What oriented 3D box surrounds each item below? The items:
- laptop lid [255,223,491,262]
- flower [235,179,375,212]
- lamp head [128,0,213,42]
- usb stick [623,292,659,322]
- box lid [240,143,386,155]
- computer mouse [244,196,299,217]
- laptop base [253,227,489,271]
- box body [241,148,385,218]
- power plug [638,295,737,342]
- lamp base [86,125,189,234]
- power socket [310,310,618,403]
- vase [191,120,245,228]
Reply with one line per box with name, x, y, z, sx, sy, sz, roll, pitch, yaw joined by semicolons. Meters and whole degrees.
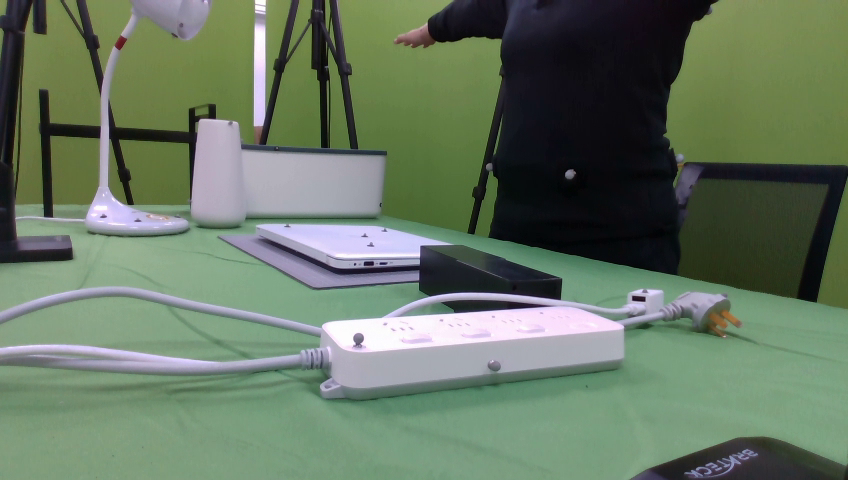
laptop lid;-0.093;0.000;0.911;0.243;0.013;0.355;1;7;-30
flower;-0.265;-0.093;1.417;0.364;0.044;0.038;8;47;-39
lamp head;-0.423;-0.394;0.980;0.123;0.112;0.112;20;7;-3
usb stick;0.211;0.064;0.581;0.021;0.027;0.059;0;-3;36
box lid;-0.304;-0.217;1.463;0.373;0.015;0.262;-2;8;-30
computer mouse;-0.346;-0.077;1.373;0.118;0.041;0.062;-11;19;-33
laptop base;-0.096;0.012;0.911;0.237;0.023;0.352;2;7;-32
box body;-0.306;-0.144;1.474;0.366;0.160;0.253;-1;9;-30
power plug;0.235;0.078;0.536;0.072;0.035;0.052;-34;41;-4
lamp base;-0.497;-0.105;1.027;0.179;0.180;0.160;1;7;3
power socket;0.033;0.074;0.415;0.228;0.032;0.072;-1;8;-24
vase;-0.389;-0.124;1.143;0.098;0.200;0.098;3;9;0
